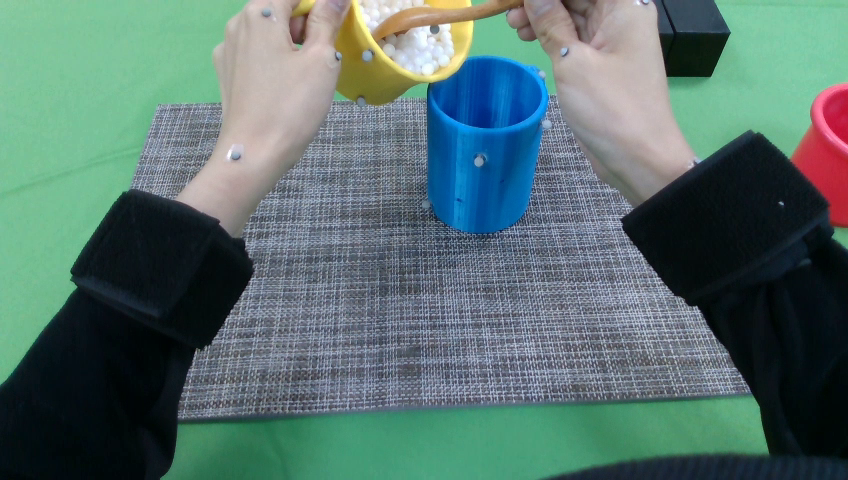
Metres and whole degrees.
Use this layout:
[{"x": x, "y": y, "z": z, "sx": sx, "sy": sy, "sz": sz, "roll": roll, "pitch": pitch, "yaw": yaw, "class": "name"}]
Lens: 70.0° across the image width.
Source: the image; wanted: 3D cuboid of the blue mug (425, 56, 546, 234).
[{"x": 0.053, "y": -0.077, "z": 0.456, "sx": 0.081, "sy": 0.107, "sz": 0.116, "roll": 35, "pitch": 60, "yaw": 24, "class": "blue mug"}]

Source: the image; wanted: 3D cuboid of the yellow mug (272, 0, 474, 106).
[{"x": -0.036, "y": -0.143, "z": 0.396, "sx": 0.131, "sy": 0.063, "sz": 0.100, "roll": -16, "pitch": 96, "yaw": -38, "class": "yellow mug"}]

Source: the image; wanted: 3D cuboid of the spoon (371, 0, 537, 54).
[{"x": 0.031, "y": -0.133, "z": 0.349, "sx": 0.192, "sy": 0.022, "sz": 0.041, "roll": 3, "pitch": 31, "yaw": 46, "class": "spoon"}]
